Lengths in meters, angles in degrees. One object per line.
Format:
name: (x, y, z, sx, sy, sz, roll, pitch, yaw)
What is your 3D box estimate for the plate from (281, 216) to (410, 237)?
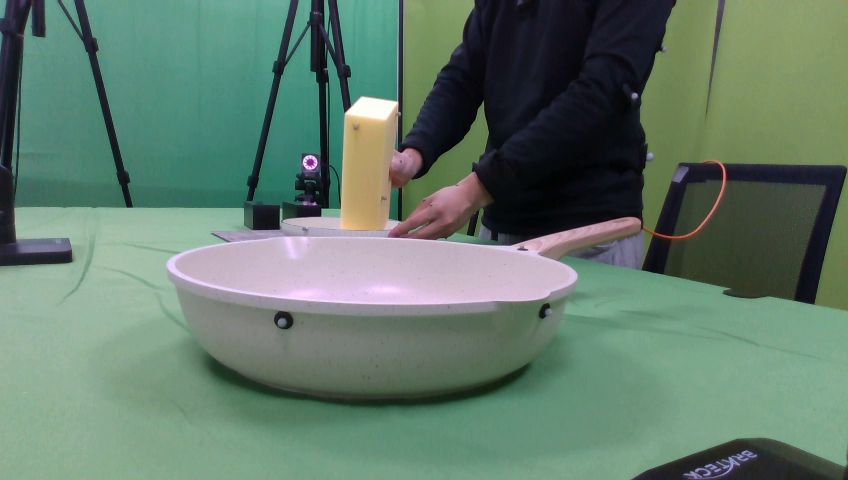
plate: (-0.126, -0.012, 0.986, 0.208, 0.039, 0.207, 2, 7, 0)

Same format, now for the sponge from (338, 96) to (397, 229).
sponge: (-0.088, -0.106, 0.935, 0.061, 0.207, 0.118, 8, 27, 3)

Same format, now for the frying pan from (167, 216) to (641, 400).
frying pan: (0.046, 0.024, 0.519, 0.490, 0.102, 0.305, -14, 16, -37)
